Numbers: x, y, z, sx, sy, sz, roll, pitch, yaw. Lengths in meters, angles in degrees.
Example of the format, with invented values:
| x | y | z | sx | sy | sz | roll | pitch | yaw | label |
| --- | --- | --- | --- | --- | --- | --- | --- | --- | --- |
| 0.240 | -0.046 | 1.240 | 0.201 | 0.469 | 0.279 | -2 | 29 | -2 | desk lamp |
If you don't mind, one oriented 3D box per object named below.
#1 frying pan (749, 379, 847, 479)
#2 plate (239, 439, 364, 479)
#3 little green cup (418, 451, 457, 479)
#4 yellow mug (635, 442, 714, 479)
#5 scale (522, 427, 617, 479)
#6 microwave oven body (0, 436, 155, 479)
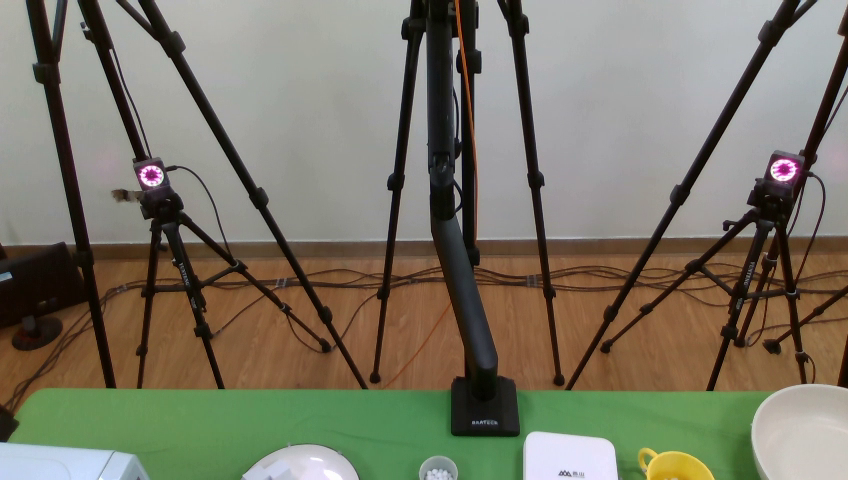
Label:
| x | y | z | sx | sy | sz | roll | pitch | yaw | label |
| --- | --- | --- | --- | --- | --- | --- | --- | --- | --- |
| 0.696 | 0.394 | 0.854 | 0.307 | 0.103 | 0.482 | -17 | 32 | -16 | frying pan |
| -0.195 | 0.409 | 0.945 | 0.207 | 0.039 | 0.205 | -2 | 38 | 2 | plate |
| 0.023 | 0.377 | 0.973 | 0.061 | 0.039 | 0.061 | -2 | 38 | 2 | little green cup |
| 0.377 | 0.368 | 0.939 | 0.100 | 0.064 | 0.129 | -21 | 41 | -21 | yellow mug |
| 0.229 | 0.388 | 0.950 | 0.148 | 0.032 | 0.199 | 2 | 39 | 8 | scale |
| -0.538 | 0.481 | 0.686 | 0.326 | 0.262 | 0.438 | 2 | 39 | 6 | microwave oven body |
